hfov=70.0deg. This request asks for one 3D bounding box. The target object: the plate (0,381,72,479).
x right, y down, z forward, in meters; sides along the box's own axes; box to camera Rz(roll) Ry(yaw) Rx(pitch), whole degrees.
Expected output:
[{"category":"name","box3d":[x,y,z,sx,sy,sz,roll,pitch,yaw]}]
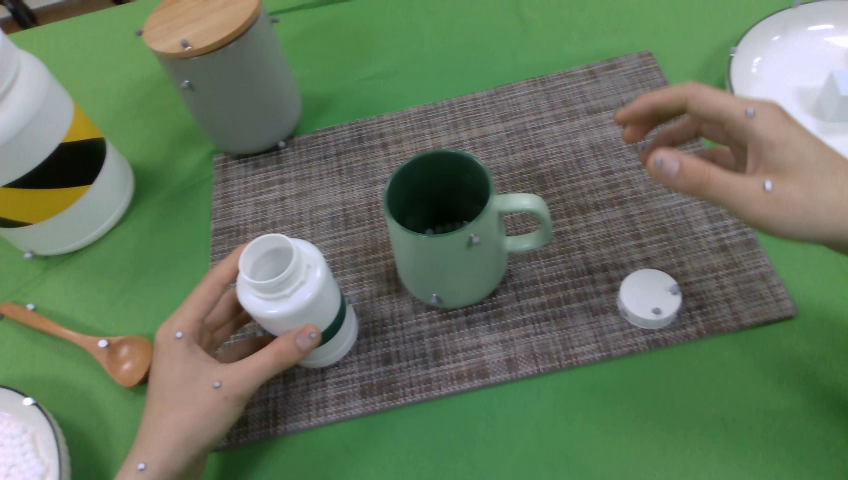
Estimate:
[{"category":"plate","box3d":[-0.351,0.205,0.437,0.209,0.038,0.207,-4,58,7]}]

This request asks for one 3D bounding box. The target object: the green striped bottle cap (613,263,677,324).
[{"category":"green striped bottle cap","box3d":[0.167,0.040,0.460,0.044,0.020,0.044,-4,58,6]}]

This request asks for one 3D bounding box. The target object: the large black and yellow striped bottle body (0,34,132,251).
[{"category":"large black and yellow striped bottle body","box3d":[-0.367,-0.087,0.534,0.130,0.186,0.129,-4,58,7]}]

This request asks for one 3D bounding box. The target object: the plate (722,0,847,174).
[{"category":"plate","box3d":[0.367,-0.134,0.524,0.207,0.039,0.205,-4,58,7]}]

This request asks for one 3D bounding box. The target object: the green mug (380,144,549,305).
[{"category":"green mug","box3d":[0.031,-0.011,0.461,0.125,0.106,0.091,-5,57,6]}]

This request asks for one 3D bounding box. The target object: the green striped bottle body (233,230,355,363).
[{"category":"green striped bottle body","box3d":[-0.095,0.041,0.442,0.063,0.120,0.062,-5,58,8]}]

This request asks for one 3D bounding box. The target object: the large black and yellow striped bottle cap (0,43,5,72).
[{"category":"large black and yellow striped bottle cap","box3d":[-0.380,-0.130,0.463,0.115,0.019,0.114,-4,57,7]}]

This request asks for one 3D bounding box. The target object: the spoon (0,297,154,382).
[{"category":"spoon","box3d":[-0.303,0.077,0.518,0.193,0.022,0.041,15,81,18]}]

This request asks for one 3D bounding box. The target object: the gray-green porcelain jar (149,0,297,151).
[{"category":"gray-green porcelain jar","box3d":[-0.186,-0.158,0.579,0.106,0.128,0.105,-5,54,7]}]

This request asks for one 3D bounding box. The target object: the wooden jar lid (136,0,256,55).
[{"category":"wooden jar lid","box3d":[-0.196,-0.195,0.529,0.108,0.021,0.107,-6,57,10]}]
